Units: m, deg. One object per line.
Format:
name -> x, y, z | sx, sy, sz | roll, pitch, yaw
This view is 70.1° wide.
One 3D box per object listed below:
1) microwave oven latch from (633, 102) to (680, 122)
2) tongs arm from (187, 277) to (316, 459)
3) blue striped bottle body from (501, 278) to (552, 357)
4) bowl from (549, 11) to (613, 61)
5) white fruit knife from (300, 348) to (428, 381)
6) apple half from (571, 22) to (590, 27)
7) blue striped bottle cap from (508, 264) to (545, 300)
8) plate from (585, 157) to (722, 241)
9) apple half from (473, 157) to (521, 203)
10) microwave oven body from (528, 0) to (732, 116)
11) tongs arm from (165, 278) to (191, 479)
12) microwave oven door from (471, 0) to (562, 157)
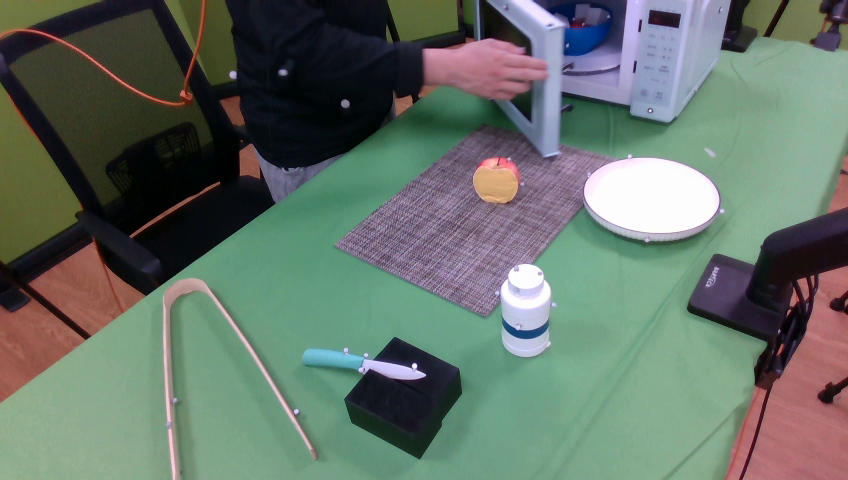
microwave oven latch -> 0.444, -0.249, 1.157 | 0.078, 0.029, 0.030 | 21, 49, 30
tongs arm -> -0.240, 0.154, 0.815 | 0.028, 0.028, 0.384 | -31, 46, -21
blue striped bottle body -> 0.130, 0.088, 0.769 | 0.063, 0.121, 0.063 | -4, 41, 4
bowl -> 0.332, -0.437, 1.307 | 0.151, 0.077, 0.151 | -8, 29, 5
white fruit knife -> -0.079, 0.154, 0.748 | 0.206, 0.027, 0.016 | 1, 20, 34
apple half -> 0.332, -0.446, 1.300 | 0.081, 0.033, 0.081 | -14, 41, 13
blue striped bottle cap -> 0.125, 0.051, 0.735 | 0.044, 0.021, 0.044 | -6, 38, 5
plate -> 0.367, -0.063, 0.979 | 0.207, 0.039, 0.206 | -4, 40, 4
apple half -> 0.127, -0.106, 1.030 | 0.080, 0.075, 0.053 | 4, 38, 19
microwave oven body -> 0.377, -0.462, 1.267 | 0.438, 0.261, 0.327 | 21, 48, 30
tongs arm -> -0.313, 0.182, 0.789 | 0.051, 0.026, 0.381 | -19, 41, -14
microwave oven door -> 0.171, -0.349, 1.157 | 0.039, 0.245, 0.353 | -16, 41, -10
